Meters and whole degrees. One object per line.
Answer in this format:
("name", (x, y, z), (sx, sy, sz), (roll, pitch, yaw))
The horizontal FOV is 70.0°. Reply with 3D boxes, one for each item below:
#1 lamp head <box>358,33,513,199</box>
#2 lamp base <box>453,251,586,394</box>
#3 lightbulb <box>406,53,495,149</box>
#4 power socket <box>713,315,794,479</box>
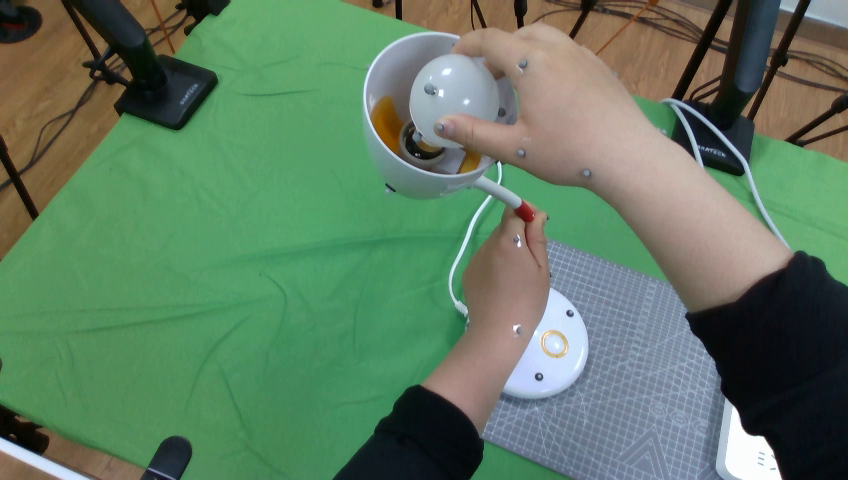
("lamp head", (0.004, -0.079, 0.474), (0.112, 0.123, 0.111), (2, 72, -5))
("lamp base", (0.119, 0.080, 0.717), (0.179, 0.181, 0.159), (15, 62, 9))
("lightbulb", (0.012, -0.090, 0.428), (0.060, 0.107, 0.059), (2, 80, -14))
("power socket", (0.411, 0.195, 0.752), (0.072, 0.033, 0.225), (20, 62, 7))
